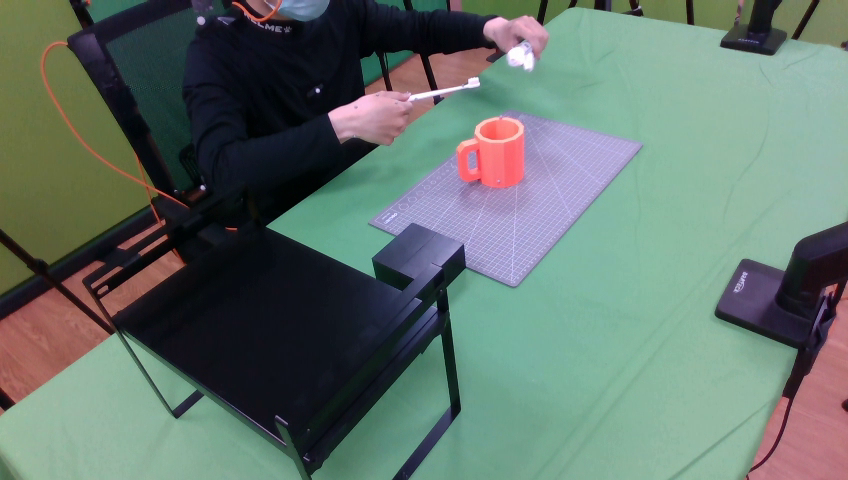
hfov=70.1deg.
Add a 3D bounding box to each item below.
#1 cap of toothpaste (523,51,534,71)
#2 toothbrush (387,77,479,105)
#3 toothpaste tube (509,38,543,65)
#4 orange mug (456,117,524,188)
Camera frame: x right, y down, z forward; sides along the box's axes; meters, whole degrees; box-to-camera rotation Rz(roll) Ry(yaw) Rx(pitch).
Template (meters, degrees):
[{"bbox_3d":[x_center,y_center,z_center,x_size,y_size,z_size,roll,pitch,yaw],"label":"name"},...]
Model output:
[{"bbox_3d":[0.194,-0.333,1.120,0.011,0.037,0.037,-3,39,-12],"label":"cap of toothpaste"},{"bbox_3d":[0.018,-0.280,1.141,0.182,0.017,0.014,-14,45,-8],"label":"toothbrush"},{"bbox_3d":[0.199,-0.377,1.197,0.055,0.034,0.165,-9,24,24],"label":"toothpaste tube"},{"bbox_3d":[0.117,-0.152,1.071,0.127,0.101,0.083,-14,41,-14],"label":"orange mug"}]
